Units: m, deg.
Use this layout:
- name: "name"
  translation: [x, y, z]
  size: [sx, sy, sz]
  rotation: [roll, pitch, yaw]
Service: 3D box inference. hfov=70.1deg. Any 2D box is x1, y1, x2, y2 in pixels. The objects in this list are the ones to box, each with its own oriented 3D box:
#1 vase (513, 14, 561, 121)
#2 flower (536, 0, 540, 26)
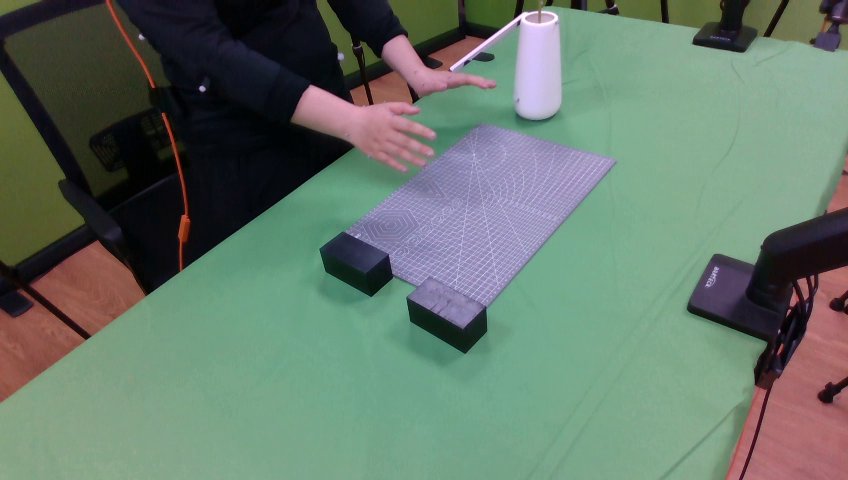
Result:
- name: "vase"
  translation: [0.225, -0.336, 1.197]
  size: [0.098, 0.201, 0.097]
  rotation: [-5, 42, 5]
- name: "flower"
  translation: [0.214, -0.386, 1.130]
  size: [0.044, 0.363, 0.038]
  rotation: [9, 62, 14]
